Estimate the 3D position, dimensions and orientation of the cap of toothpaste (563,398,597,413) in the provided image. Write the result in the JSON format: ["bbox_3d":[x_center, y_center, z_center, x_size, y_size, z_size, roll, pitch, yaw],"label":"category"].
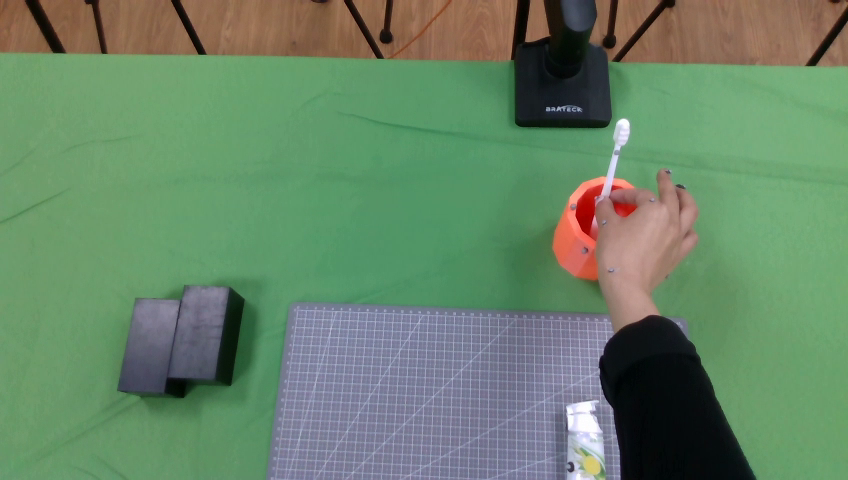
[{"bbox_3d":[0.164,0.174,0.634,0.037,0.037,0.011,-10,66,-2],"label":"cap of toothpaste"}]

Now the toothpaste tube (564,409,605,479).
[{"bbox_3d":[0.161,0.252,0.612,0.055,0.035,0.164,-1,73,9],"label":"toothpaste tube"}]

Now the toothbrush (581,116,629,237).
[{"bbox_3d":[0.184,-0.043,0.638,0.014,0.183,0.016,-4,38,-15],"label":"toothbrush"}]

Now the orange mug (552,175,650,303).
[{"bbox_3d":[0.199,0.003,0.667,0.083,0.101,0.125,-18,66,-5],"label":"orange mug"}]
